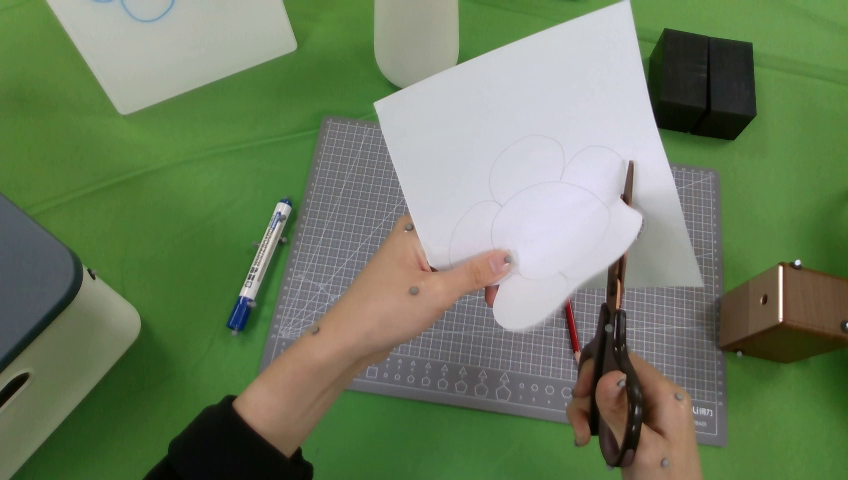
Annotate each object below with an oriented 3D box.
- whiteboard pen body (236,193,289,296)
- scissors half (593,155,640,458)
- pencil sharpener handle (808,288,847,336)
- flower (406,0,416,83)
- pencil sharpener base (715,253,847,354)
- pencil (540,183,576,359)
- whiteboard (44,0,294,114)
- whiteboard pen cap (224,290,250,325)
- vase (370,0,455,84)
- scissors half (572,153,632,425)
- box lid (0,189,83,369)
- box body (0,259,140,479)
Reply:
[{"bbox_3d":[-0.168,0.014,0.619,0.017,0.017,0.140,14,67,5],"label":"whiteboard pen body"},{"bbox_3d":[0.112,0.037,0.349,0.013,0.040,0.174,3,84,-9],"label":"scissors half"},{"bbox_3d":[0.385,0.071,0.555,0.030,0.068,0.035,12,63,0],"label":"pencil sharpener handle"},{"bbox_3d":[-0.017,-0.298,0.559,0.044,0.365,0.038,1,51,3],"label":"flower"},{"bbox_3d":[0.335,0.063,0.567,0.077,0.107,0.061,12,68,0],"label":"pencil sharpener base"},{"bbox_3d":[0.139,0.030,0.625,0.012,0.012,0.192,-5,71,-3],"label":"pencil"},{"bbox_3d":[-0.299,-0.329,0.627,0.217,0.308,0.142,-25,52,-10],"label":"whiteboard"},{"bbox_3d":[-0.182,0.066,0.596,0.018,0.018,0.033,14,65,4],"label":"whiteboard pen cap"},{"bbox_3d":[-0.013,-0.254,0.631,0.098,0.201,0.097,0,67,0],"label":"vase"},{"bbox_3d":[0.110,0.034,0.371,0.013,0.040,0.176,4,110,-4],"label":"scissors half"},{"bbox_3d":[-0.473,0.016,0.453,0.370,0.015,0.262,34,71,11],"label":"box lid"},{"bbox_3d":[-0.473,0.044,0.522,0.362,0.161,0.253,34,72,11],"label":"box body"}]
